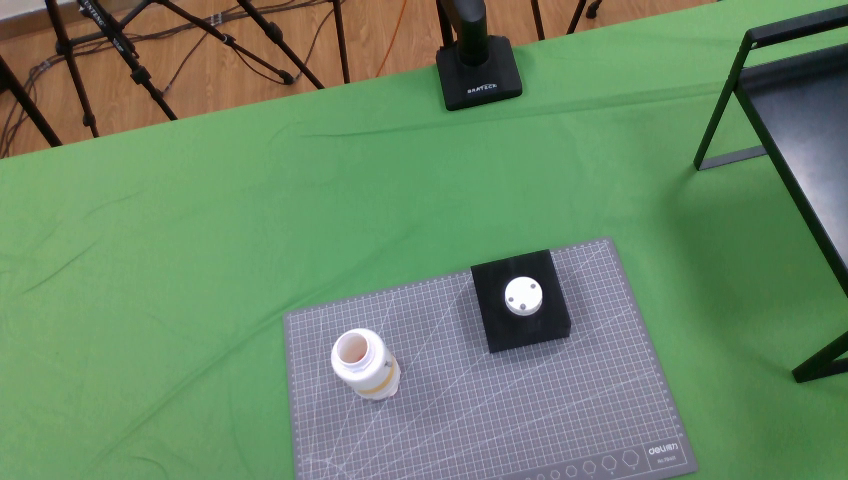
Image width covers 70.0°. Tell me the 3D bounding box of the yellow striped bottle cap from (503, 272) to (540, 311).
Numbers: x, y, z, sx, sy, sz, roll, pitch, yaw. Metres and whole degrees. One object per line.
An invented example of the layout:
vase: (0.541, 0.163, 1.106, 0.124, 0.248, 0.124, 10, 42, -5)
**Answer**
yellow striped bottle cap: (0.116, 0.061, 0.719, 0.044, 0.019, 0.044, -3, 66, 7)

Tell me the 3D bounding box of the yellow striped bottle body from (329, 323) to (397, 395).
yellow striped bottle body: (-0.072, 0.138, 0.707, 0.063, 0.121, 0.062, -3, 63, 7)
